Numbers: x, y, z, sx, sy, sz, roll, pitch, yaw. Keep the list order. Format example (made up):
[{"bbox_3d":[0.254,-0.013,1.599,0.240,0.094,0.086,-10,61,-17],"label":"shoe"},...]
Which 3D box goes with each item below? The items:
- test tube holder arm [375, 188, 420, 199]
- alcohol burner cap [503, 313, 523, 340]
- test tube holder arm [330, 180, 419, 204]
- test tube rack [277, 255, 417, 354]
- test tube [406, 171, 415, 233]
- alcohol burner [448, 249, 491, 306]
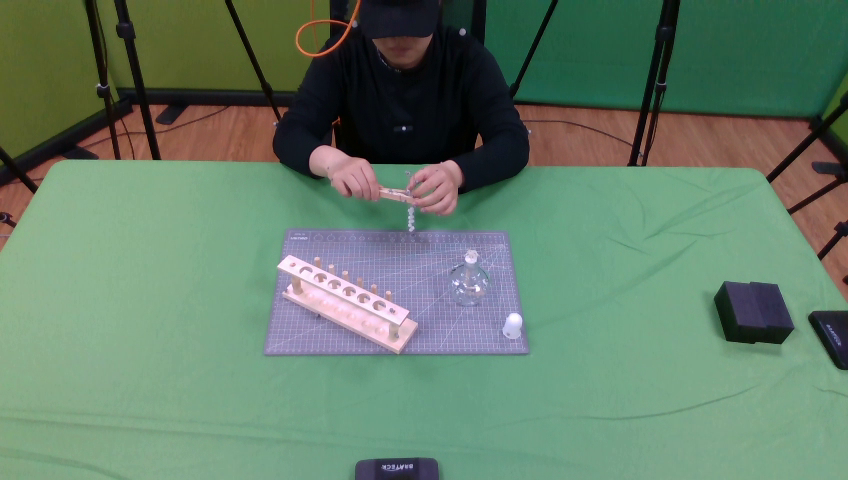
[{"bbox_3d":[-0.051,-0.089,1.156,0.088,0.015,0.010,4,37,2],"label":"test tube holder arm"},{"bbox_3d":[0.156,0.148,1.051,0.034,0.048,0.033,1,45,-1],"label":"alcohol burner cap"},{"bbox_3d":[-0.096,-0.092,1.157,0.178,0.015,0.013,11,37,11],"label":"test tube holder arm"},{"bbox_3d":[-0.131,0.099,1.045,0.241,0.085,0.066,23,49,17],"label":"test tube rack"},{"bbox_3d":[-0.026,-0.070,1.161,0.017,0.151,0.017,0,45,0],"label":"test tube"},{"bbox_3d":[0.081,0.062,1.078,0.078,0.120,0.077,1,45,-1],"label":"alcohol burner"}]
